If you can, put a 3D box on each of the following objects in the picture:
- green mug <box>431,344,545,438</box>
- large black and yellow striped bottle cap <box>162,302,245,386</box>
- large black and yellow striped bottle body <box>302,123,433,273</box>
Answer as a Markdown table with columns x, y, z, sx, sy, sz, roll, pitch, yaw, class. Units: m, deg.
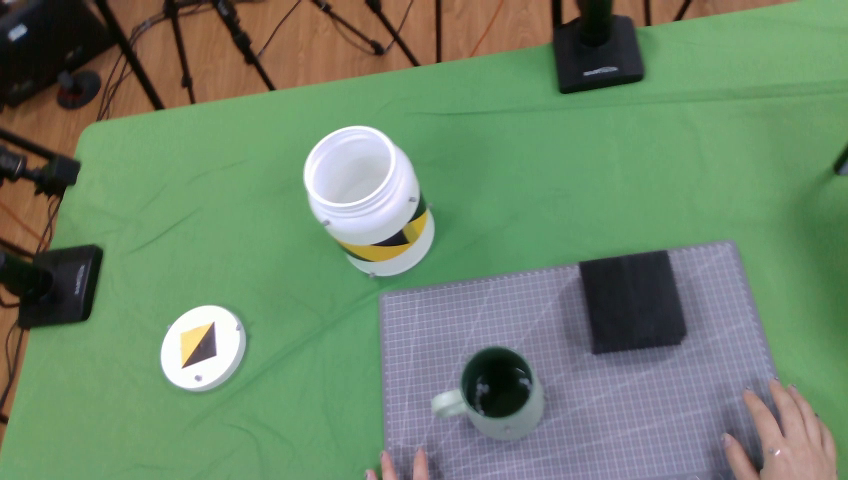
| x | y | z | sx | sy | sz | roll | pitch | yaw | class |
| --- | --- | --- | --- | --- | --- | --- | --- | --- | --- |
| 0.069 | 0.171 | 0.671 | 0.125 | 0.106 | 0.091 | -17 | 63 | 5 | green mug |
| -0.299 | 0.139 | 0.820 | 0.115 | 0.019 | 0.114 | -5 | 63 | 10 | large black and yellow striped bottle cap |
| -0.068 | -0.049 | 0.762 | 0.130 | 0.185 | 0.129 | -5 | 64 | 10 | large black and yellow striped bottle body |
